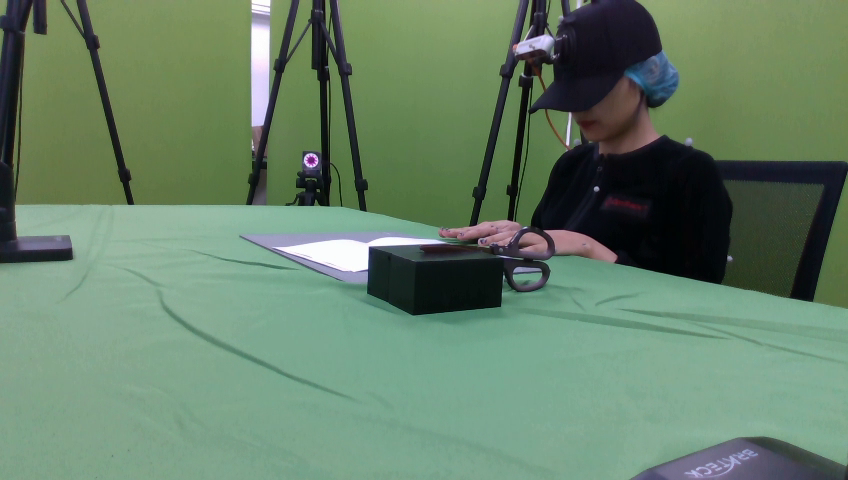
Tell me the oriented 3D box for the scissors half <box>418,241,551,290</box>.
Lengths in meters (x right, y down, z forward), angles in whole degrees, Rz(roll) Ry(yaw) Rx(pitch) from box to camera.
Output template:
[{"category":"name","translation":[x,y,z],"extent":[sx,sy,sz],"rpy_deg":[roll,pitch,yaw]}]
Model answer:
[{"category":"scissors half","translation":[0.067,0.024,0.645],"extent":[0.176,0.040,0.012],"rpy_deg":[17,7,-31]}]

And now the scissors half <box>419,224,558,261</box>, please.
[{"category":"scissors half","translation":[0.072,0.004,0.642],"extent":[0.176,0.040,0.013],"rpy_deg":[-3,12,-29]}]
